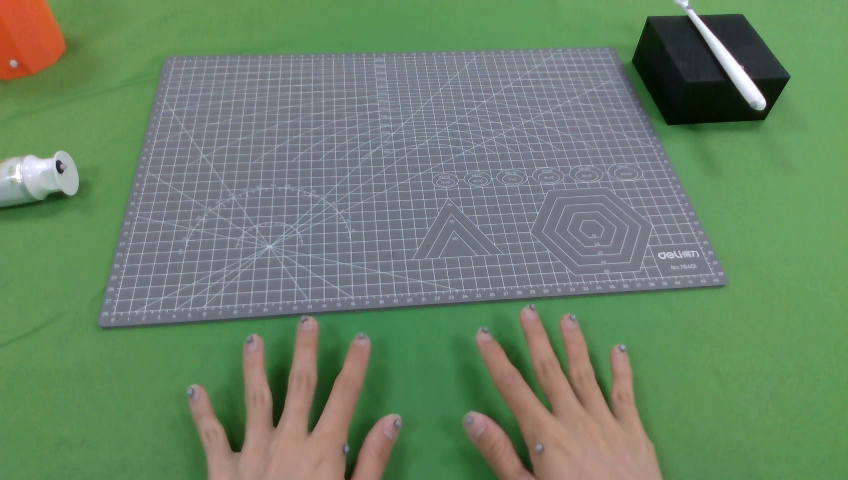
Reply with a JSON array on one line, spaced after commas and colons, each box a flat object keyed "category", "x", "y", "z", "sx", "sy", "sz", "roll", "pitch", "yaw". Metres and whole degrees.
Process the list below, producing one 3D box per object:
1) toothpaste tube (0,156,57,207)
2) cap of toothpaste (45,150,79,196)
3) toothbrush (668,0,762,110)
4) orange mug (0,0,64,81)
[{"category": "toothpaste tube", "x": -0.357, "y": -0.039, "z": 0.459, "sx": 0.165, "sy": 0.035, "sz": 0.054, "roll": -10, "pitch": 49, "yaw": -6}, {"category": "cap of toothpaste", "x": -0.279, "y": -0.051, "z": 0.465, "sx": 0.011, "sy": 0.037, "sz": 0.037, "roll": -11, "pitch": 53, "yaw": -7}, {"category": "toothbrush", "x": 0.263, "y": -0.182, "z": 0.554, "sx": 0.014, "sy": 0.017, "sz": 0.180, "roll": -3, "pitch": 53, "yaw": -11}, {"category": "orange mug", "x": -0.401, "y": -0.199, "z": 0.534, "sx": 0.083, "sy": 0.101, "sz": 0.126, "roll": 30, "pitch": 52, "yaw": 19}]
